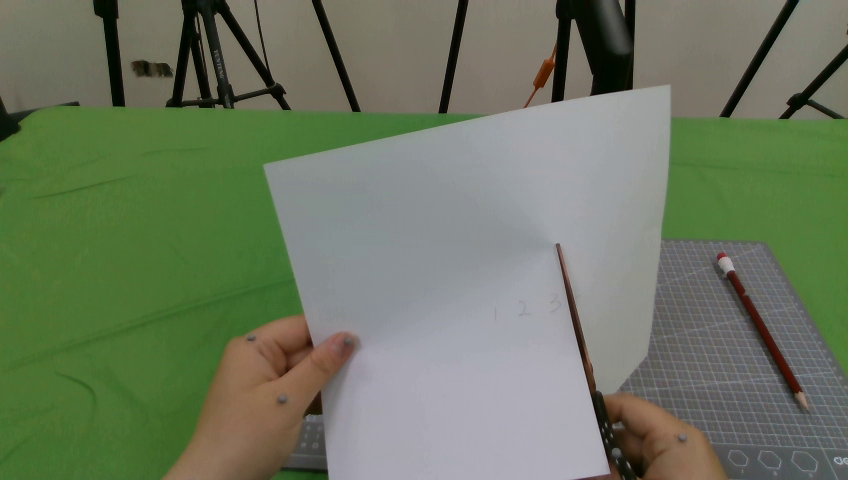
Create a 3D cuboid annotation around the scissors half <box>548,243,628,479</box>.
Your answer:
[{"bbox_3d":[0.094,0.085,0.343,0.013,0.040,0.174,-14,78,4],"label":"scissors half"}]

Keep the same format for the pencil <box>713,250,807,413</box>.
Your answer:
[{"bbox_3d":[0.298,0.074,0.544,0.012,0.012,0.192,0,39,1],"label":"pencil"}]

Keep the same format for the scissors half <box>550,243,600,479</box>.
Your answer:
[{"bbox_3d":[0.095,0.087,0.363,0.013,0.175,0.040,-14,4,-2],"label":"scissors half"}]
